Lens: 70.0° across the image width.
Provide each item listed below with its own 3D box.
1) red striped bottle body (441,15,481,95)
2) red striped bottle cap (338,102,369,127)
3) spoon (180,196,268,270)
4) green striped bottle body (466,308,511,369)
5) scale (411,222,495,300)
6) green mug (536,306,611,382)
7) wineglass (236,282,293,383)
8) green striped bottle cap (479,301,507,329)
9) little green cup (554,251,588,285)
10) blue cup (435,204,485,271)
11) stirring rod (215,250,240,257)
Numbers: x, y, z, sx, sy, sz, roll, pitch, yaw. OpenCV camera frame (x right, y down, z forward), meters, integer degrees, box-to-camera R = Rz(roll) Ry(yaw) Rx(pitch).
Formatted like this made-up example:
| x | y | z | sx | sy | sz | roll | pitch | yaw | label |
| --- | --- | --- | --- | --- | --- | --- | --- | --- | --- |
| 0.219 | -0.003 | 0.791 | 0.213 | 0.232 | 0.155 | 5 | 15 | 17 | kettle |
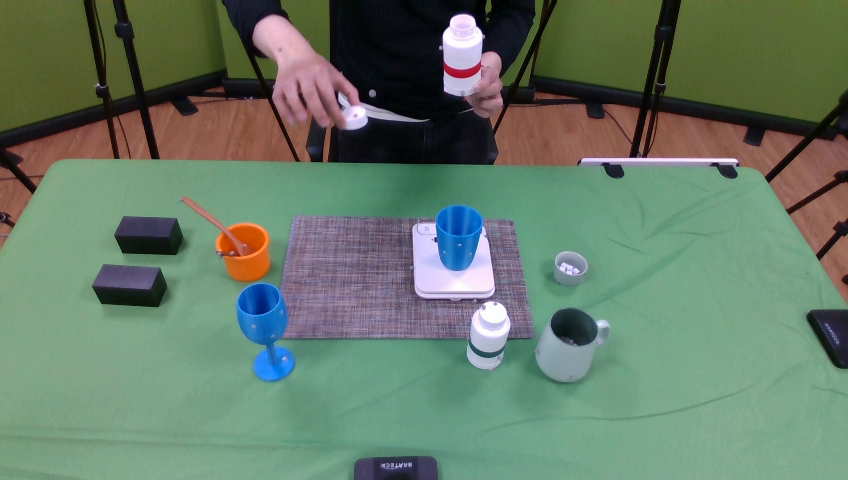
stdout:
| x | y | z | sx | sy | sz | roll | pitch | yaw | label |
| --- | --- | --- | --- | --- | --- | --- | --- | --- | --- |
| 0.060 | -0.298 | 0.972 | 0.063 | 0.120 | 0.062 | -2 | 54 | 2 | red striped bottle body |
| -0.104 | -0.186 | 0.892 | 0.044 | 0.018 | 0.044 | -7 | 40 | 6 | red striped bottle cap |
| -0.360 | -0.014 | 1.094 | 0.021 | 0.194 | 0.041 | -27 | 26 | 31 | spoon |
| 0.106 | 0.154 | 0.988 | 0.063 | 0.120 | 0.063 | 2 | 46 | -2 | green striped bottle body |
| 0.052 | 0.031 | 1.158 | 0.149 | 0.032 | 0.199 | 1 | 46 | -4 | scale |
| 0.250 | 0.167 | 0.996 | 0.125 | 0.105 | 0.092 | -15 | 48 | -19 | green mug |
| -0.243 | 0.143 | 0.934 | 0.074 | 0.173 | 0.073 | 2 | 46 | -2 | wineglass |
| 0.109 | 0.117 | 0.950 | 0.044 | 0.020 | 0.044 | 2 | 48 | -2 | green striped bottle cap |
| 0.276 | 0.055 | 1.151 | 0.061 | 0.039 | 0.061 | 1 | 46 | -1 | little green cup |
| 0.061 | 0.001 | 1.097 | 0.092 | 0.101 | 0.092 | 1 | 44 | 0 | blue cup |
| -0.339 | 0.024 | 1.059 | 0.014 | 0.176 | 0.006 | 16 | 86 | -6 | stirring rod |
